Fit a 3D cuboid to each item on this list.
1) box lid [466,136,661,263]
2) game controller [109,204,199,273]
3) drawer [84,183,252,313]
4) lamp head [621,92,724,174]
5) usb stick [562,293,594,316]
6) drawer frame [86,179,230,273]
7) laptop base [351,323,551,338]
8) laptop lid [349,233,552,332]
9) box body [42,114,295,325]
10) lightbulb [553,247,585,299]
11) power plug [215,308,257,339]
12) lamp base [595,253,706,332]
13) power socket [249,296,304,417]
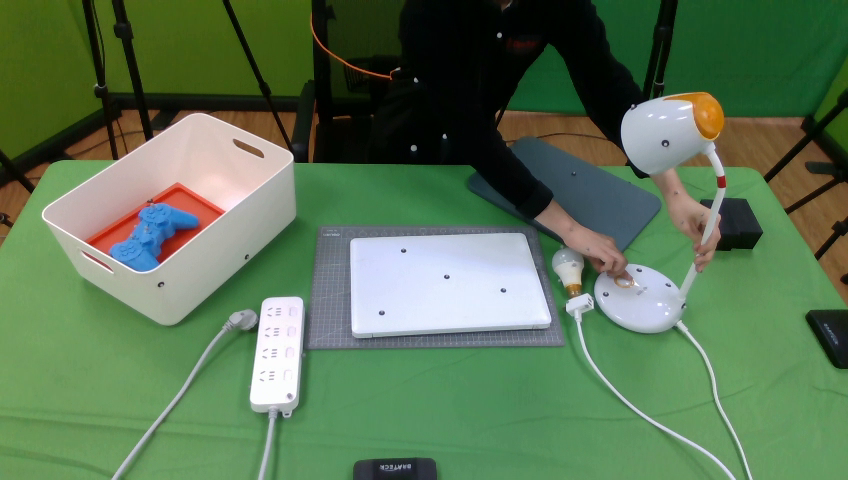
[{"bbox_3d":[0.306,-0.102,1.327,0.370,0.015,0.263,32,51,25],"label":"box lid"},{"bbox_3d":[-0.467,-0.005,1.044,0.097,0.052,0.154,8,45,11],"label":"game controller"},{"bbox_3d":[-0.458,0.008,1.099,0.194,0.073,0.211,29,49,21],"label":"drawer"},{"bbox_3d":[0.371,-0.160,0.885,0.113,0.122,0.112,4,83,-32],"label":"lamp head"},{"bbox_3d":[0.274,0.118,1.087,0.021,0.059,0.027,39,44,-27],"label":"usb stick"},{"bbox_3d":[-0.453,0.010,1.100,0.201,0.083,0.213,28,54,23],"label":"drawer frame"},{"bbox_3d":[0.040,0.080,1.126,0.355,0.023,0.234,-2,43,-6],"label":"laptop base"},{"bbox_3d":[0.040,0.071,1.119,0.357,0.013,0.240,-1,44,-5],"label":"laptop lid"},{"bbox_3d":[-0.437,-0.046,1.110,0.253,0.161,0.363,24,49,19],"label":"box body"},{"bbox_3d":[0.276,0.064,1.140,0.059,0.060,0.107,-2,63,-6],"label":"lightbulb"},{"bbox_3d":[-0.317,0.143,1.024,0.072,0.053,0.035,-32,58,-8],"label":"power plug"},{"bbox_3d":[0.411,0.057,1.065,0.178,0.181,0.160,34,53,22],"label":"lamp base"},{"bbox_3d":[-0.239,0.182,0.996,0.072,0.033,0.225,-2,47,-5],"label":"power socket"}]
